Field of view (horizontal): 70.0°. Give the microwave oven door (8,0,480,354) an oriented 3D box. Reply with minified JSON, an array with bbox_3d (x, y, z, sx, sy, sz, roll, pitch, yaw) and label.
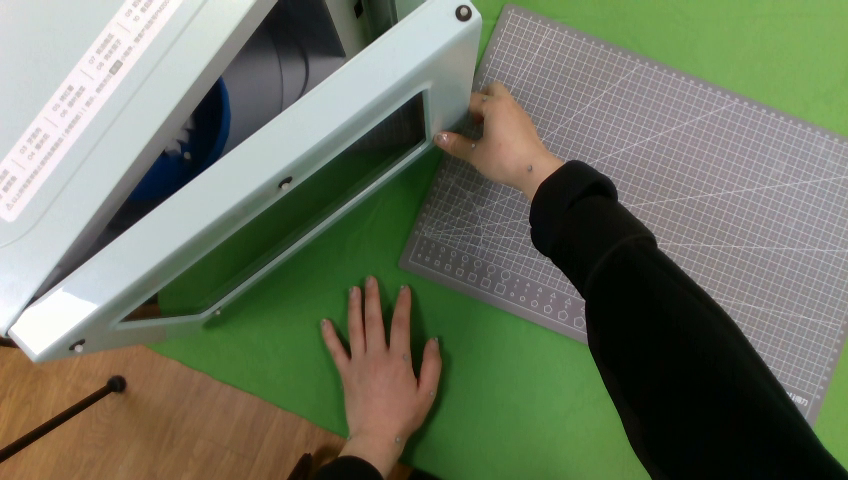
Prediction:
[{"bbox_3d":[-0.110,-0.039,0.493,0.356,0.244,0.039,-38,86,-2],"label":"microwave oven door"}]

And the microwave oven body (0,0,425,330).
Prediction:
[{"bbox_3d":[-0.236,-0.192,0.507,0.326,0.260,0.441,36,89,2],"label":"microwave oven body"}]

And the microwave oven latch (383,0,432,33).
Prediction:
[{"bbox_3d":[-0.010,-0.241,0.604,0.030,0.029,0.079,38,89,2],"label":"microwave oven latch"}]
